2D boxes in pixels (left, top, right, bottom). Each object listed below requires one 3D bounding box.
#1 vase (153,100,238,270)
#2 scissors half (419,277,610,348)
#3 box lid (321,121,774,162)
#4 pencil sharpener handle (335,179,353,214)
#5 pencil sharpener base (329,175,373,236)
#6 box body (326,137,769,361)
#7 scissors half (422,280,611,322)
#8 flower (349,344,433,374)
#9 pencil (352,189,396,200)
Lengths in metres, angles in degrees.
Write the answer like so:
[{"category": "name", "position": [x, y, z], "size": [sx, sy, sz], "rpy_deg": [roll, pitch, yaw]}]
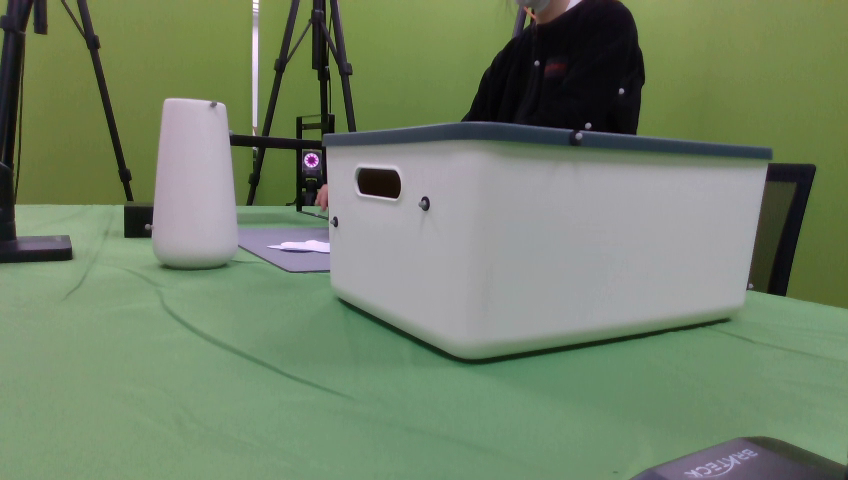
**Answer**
[{"category": "vase", "position": [-0.278, -0.066, 0.736], "size": [0.098, 0.200, 0.098], "rpy_deg": [2, 9, 0]}, {"category": "scissors half", "position": [0.076, 0.067, 0.533], "size": [0.174, 0.040, 0.013], "rpy_deg": [14, 50, 24]}, {"category": "box lid", "position": [0.114, -0.085, 0.573], "size": [0.373, 0.015, 0.262], "rpy_deg": [-2, 7, -33]}, {"category": "pencil sharpener handle", "position": [-0.157, -0.084, 1.167], "size": [0.036, 0.068, 0.030], "rpy_deg": [-14, 14, -24]}, {"category": "pencil sharpener base", "position": [-0.137, -0.065, 1.122], "size": [0.061, 0.107, 0.076], "rpy_deg": [-2, 8, -27]}, {"category": "box body", "position": [0.112, -0.010, 0.583], "size": [0.366, 0.160, 0.253], "rpy_deg": [-2, 9, -33]}, {"category": "scissors half", "position": [0.073, 0.057, 0.524], "size": [0.174, 0.040, 0.013], "rpy_deg": [5, 39, 30]}, {"category": "flower", "position": [0.103, 0.072, 0.592], "size": [0.362, 0.044, 0.038], "rpy_deg": [-17, 44, -9]}, {"category": "pencil", "position": [-0.089, -0.079, 1.024], "size": [0.012, 0.012, 0.193], "rpy_deg": [-1, 7, -26]}]
